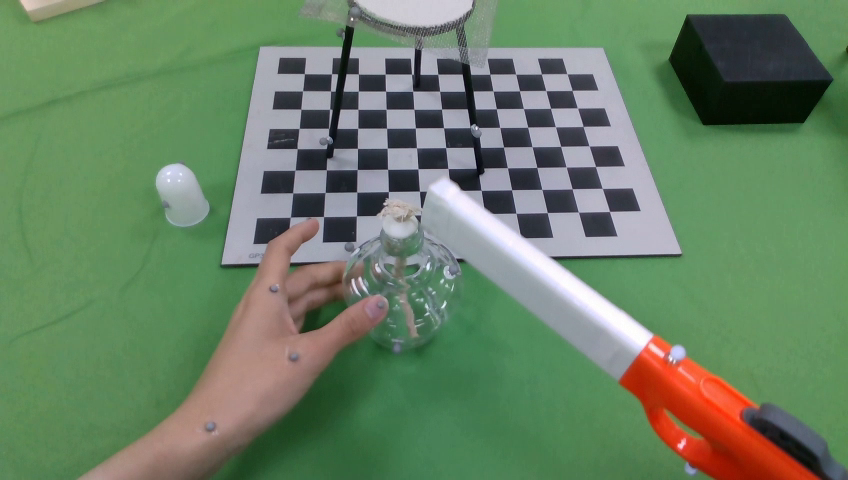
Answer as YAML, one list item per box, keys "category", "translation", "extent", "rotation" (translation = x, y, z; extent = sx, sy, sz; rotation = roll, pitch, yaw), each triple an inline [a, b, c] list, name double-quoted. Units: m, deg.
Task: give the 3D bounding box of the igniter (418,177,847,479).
- category: "igniter"
  translation: [0.103, 0.060, 0.273]
  extent: [0.274, 0.057, 0.025]
  rotation: [39, 53, 20]

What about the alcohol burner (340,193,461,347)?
- category: "alcohol burner"
  translation: [-0.015, 0.016, 0.375]
  extent: [0.078, 0.120, 0.077]
  rotation: [0, 53, 0]

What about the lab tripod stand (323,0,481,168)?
- category: "lab tripod stand"
  translation: [-0.010, -0.133, 0.470]
  extent: [0.148, 0.132, 0.147]
  rotation: [3, 52, -3]

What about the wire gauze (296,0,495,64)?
- category: "wire gauze"
  translation: [-0.010, -0.171, 0.414]
  extent: [0.125, 0.011, 0.120]
  rotation: [13, 53, 5]

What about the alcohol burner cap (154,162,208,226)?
- category: "alcohol burner cap"
  translation: [-0.183, -0.037, 0.450]
  extent: [0.034, 0.048, 0.033]
  rotation: [2, 53, -3]

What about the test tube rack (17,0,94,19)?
- category: "test tube rack"
  translation: [-0.312, -0.320, 0.628]
  extent: [0.242, 0.086, 0.066]
  rotation: [-30, 61, -23]
